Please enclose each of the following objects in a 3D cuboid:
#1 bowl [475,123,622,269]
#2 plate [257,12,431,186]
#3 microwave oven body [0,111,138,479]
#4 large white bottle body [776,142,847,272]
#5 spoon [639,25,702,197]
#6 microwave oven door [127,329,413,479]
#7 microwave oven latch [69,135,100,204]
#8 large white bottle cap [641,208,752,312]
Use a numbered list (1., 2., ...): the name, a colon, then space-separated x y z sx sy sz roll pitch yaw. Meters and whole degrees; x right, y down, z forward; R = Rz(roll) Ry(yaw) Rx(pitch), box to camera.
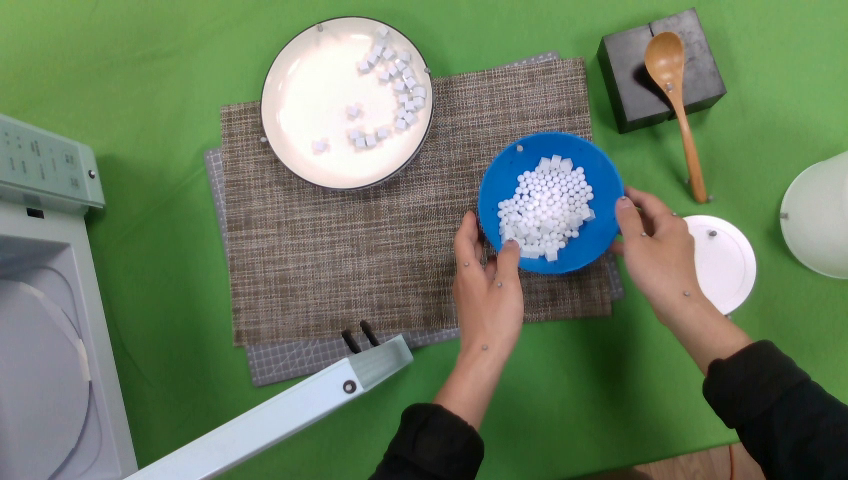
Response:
1. bowl: 0.133 -0.042 0.661 0.151 0.077 0.151 -1 86 9
2. plate: -0.093 -0.163 0.719 0.209 0.038 0.208 -1 85 8
3. microwave oven body: -0.532 0.117 0.645 0.326 0.261 0.440 -16 85 5
4. large white bottle body: 0.436 -0.038 0.571 0.130 0.185 0.130 -1 85 8
5. spoon: 0.270 -0.132 0.647 0.041 0.021 0.195 -21 106 3
6. microwave oven door: -0.190 0.194 0.591 0.356 0.244 0.039 -30 82 4
7. microwave oven latch: -0.424 -0.086 0.743 0.030 0.029 0.079 -16 85 5
8. large white bottle cap: 0.301 0.022 0.669 0.115 0.018 0.114 0 86 7
